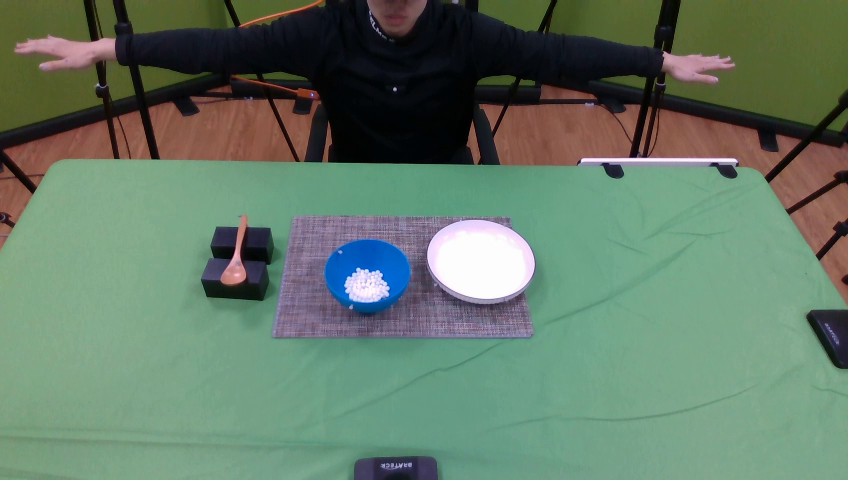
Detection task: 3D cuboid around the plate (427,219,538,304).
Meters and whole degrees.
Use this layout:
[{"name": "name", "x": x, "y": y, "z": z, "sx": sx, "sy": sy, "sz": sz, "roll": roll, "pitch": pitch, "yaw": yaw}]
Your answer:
[{"name": "plate", "x": 0.109, "y": 0.044, "z": 1.149, "sx": 0.208, "sy": 0.039, "sz": 0.206, "roll": 2, "pitch": 46, "yaw": -2}]

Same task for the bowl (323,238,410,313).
[{"name": "bowl", "x": -0.101, "y": 0.077, "z": 1.073, "sx": 0.151, "sy": 0.077, "sz": 0.150, "roll": 2, "pitch": 46, "yaw": -2}]

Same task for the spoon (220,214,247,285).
[{"name": "spoon", "x": -0.334, "y": 0.014, "z": 1.093, "sx": 0.041, "sy": 0.022, "sz": 0.192, "roll": -1, "pitch": 45, "yaw": -6}]
